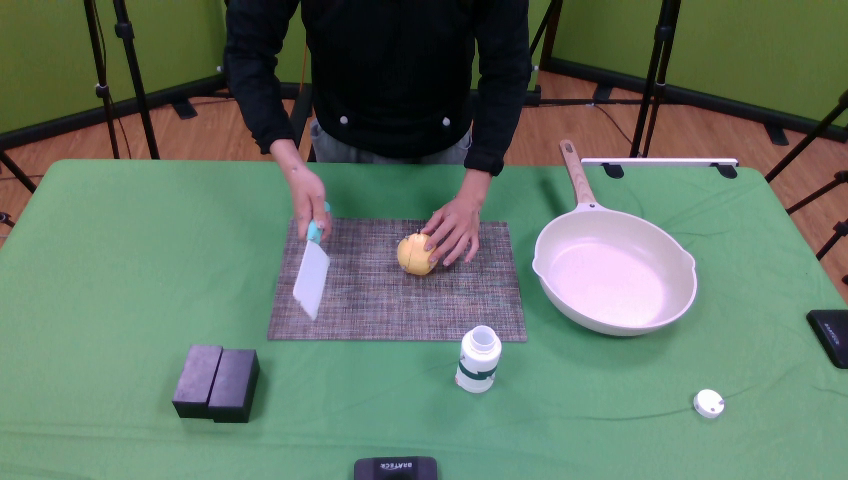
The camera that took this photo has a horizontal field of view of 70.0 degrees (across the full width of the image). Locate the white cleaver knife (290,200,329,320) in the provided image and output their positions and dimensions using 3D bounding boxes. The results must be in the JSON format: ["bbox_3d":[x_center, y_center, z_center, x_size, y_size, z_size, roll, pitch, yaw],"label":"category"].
[{"bbox_3d":[-0.182,0.025,1.004,0.021,0.066,0.284,-24,32,17],"label":"white cleaver knife"}]

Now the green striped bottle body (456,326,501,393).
[{"bbox_3d":[0.086,0.185,0.959,0.063,0.120,0.063,2,46,-2],"label":"green striped bottle body"}]

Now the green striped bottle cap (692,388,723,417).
[{"bbox_3d":[0.460,0.263,0.984,0.044,0.020,0.044,3,46,-3],"label":"green striped bottle cap"}]

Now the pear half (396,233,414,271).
[{"bbox_3d":[-0.037,0.018,1.125,0.031,0.088,0.070,5,50,0],"label":"pear half"}]

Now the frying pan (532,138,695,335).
[{"bbox_3d":[0.336,-0.024,1.190,0.307,0.103,0.484,-2,55,-7],"label":"frying pan"}]

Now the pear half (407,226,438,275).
[{"bbox_3d":[-0.001,0.015,1.117,0.056,0.110,0.076,5,50,1],"label":"pear half"}]
